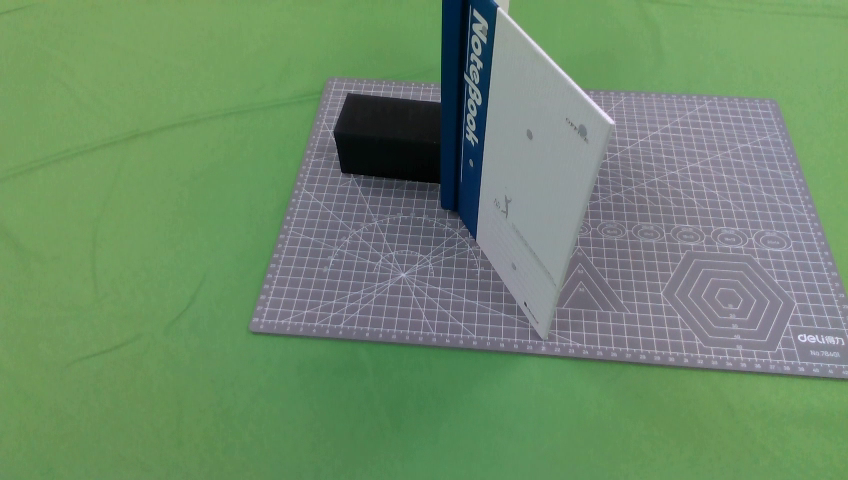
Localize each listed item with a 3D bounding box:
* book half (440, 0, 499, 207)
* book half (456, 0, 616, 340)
[{"bbox_3d":[0.039,-0.146,0.477,0.016,0.212,0.147,13,54,10],"label":"book half"},{"bbox_3d":[0.057,-0.039,0.398,0.007,0.212,0.141,-21,55,-15],"label":"book half"}]
